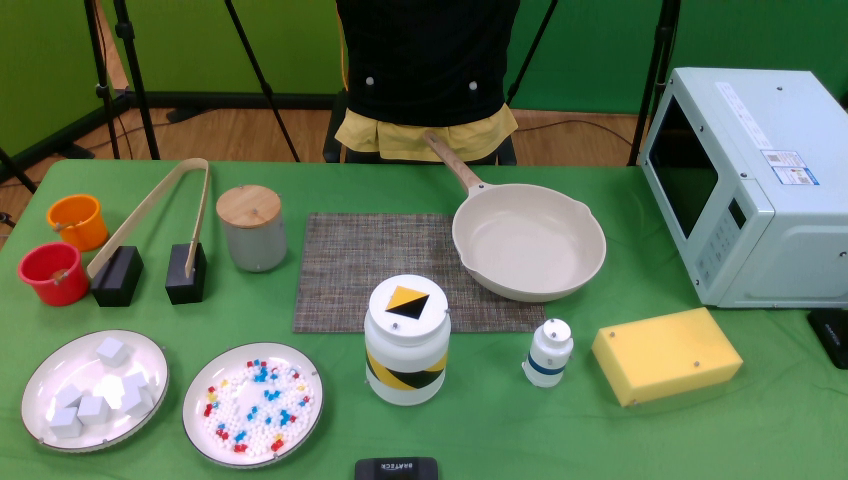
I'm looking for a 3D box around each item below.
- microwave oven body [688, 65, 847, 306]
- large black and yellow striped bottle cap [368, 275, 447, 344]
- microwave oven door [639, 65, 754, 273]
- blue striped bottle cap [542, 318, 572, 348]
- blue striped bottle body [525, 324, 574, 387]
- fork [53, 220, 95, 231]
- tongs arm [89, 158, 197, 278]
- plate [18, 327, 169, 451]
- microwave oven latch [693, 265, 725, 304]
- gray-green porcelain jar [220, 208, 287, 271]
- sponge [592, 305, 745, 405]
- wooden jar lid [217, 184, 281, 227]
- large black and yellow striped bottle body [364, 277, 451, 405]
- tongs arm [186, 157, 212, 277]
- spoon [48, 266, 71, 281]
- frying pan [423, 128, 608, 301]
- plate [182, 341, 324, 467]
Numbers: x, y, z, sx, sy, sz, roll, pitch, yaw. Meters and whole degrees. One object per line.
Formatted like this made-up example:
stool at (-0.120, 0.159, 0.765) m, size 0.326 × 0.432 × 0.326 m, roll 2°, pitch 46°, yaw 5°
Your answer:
microwave oven body at (0.669, -0.111, 1.176) m, size 0.326 × 0.261 × 0.439 m, roll 0°, pitch 46°, yaw -3°
large black and yellow striped bottle cap at (-0.024, 0.098, 0.871) m, size 0.115 × 0.019 × 0.114 m, roll 2°, pitch 45°, yaw -2°
microwave oven door at (0.522, -0.147, 1.193) m, size 0.039 × 0.245 × 0.353 m, roll 0°, pitch 47°, yaw -3°
blue striped bottle cap at (0.205, 0.143, 0.933) m, size 0.044 × 0.021 × 0.044 m, roll 0°, pitch 47°, yaw 0°
blue striped bottle body at (0.202, 0.179, 0.970) m, size 0.063 × 0.121 × 0.062 m, roll 2°, pitch 46°, yaw -2°
fork at (-0.627, -0.027, 1.086) m, size 0.028 × 0.018 × 0.207 m, roll 0°, pitch 2°, yaw -15°
tongs arm at (-0.530, -0.057, 1.164) m, size 0.028 × 0.028 × 0.385 m, roll 1°, pitch 36°, yaw 8°
plate at (-0.498, 0.229, 0.929) m, size 0.208 × 0.039 × 0.206 m, roll 2°, pitch 47°, yaw -2°
microwave oven latch at (0.523, 0.081, 1.116) m, size 0.030 × 0.029 × 0.078 m, roll 2°, pitch 46°, yaw -1°
gray-green porcelain jar at (-0.310, -0.014, 1.113) m, size 0.106 × 0.127 × 0.105 m, roll 1°, pitch 47°, yaw -1°
sponge at (0.405, 0.190, 1.014) m, size 0.207 × 0.061 × 0.117 m, roll -10°, pitch 48°, yaw -13°
wooden jar lid at (-0.308, -0.057, 1.067) m, size 0.108 × 0.021 × 0.107 m, roll 5°, pitch 44°, yaw -4°
large black and yellow striped bottle body at (-0.026, 0.155, 0.933) m, size 0.131 × 0.185 × 0.130 m, roll 2°, pitch 47°, yaw -2°
tongs arm at (-0.445, -0.058, 1.168) m, size 0.051 × 0.026 × 0.382 m, roll -5°, pitch 37°, yaw -6°
spoon at (-0.609, 0.057, 1.010) m, size 0.041 × 0.022 × 0.193 m, roll -33°, pitch 14°, yaw -27°
frying pan at (0.142, -0.069, 1.208) m, size 0.307 × 0.103 × 0.485 m, roll -23°, pitch 60°, yaw -25°
plate at (-0.257, 0.250, 0.927) m, size 0.209 × 0.038 × 0.208 m, roll 3°, pitch 46°, yaw -2°
